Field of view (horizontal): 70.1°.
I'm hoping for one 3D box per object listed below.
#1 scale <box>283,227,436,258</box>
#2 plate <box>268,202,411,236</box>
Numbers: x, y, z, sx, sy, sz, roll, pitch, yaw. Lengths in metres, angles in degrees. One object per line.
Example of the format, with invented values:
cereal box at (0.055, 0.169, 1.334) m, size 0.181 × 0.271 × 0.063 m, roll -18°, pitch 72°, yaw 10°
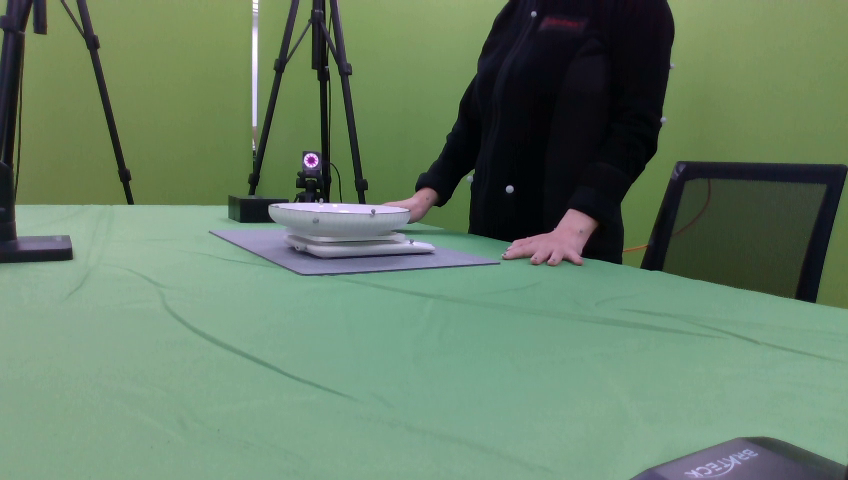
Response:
scale at (-0.098, 0.000, 0.914) m, size 0.202 × 0.031 × 0.148 m, roll -2°, pitch 9°, yaw -34°
plate at (-0.123, -0.032, 0.894) m, size 0.209 × 0.038 × 0.209 m, roll 2°, pitch 7°, yaw 0°
